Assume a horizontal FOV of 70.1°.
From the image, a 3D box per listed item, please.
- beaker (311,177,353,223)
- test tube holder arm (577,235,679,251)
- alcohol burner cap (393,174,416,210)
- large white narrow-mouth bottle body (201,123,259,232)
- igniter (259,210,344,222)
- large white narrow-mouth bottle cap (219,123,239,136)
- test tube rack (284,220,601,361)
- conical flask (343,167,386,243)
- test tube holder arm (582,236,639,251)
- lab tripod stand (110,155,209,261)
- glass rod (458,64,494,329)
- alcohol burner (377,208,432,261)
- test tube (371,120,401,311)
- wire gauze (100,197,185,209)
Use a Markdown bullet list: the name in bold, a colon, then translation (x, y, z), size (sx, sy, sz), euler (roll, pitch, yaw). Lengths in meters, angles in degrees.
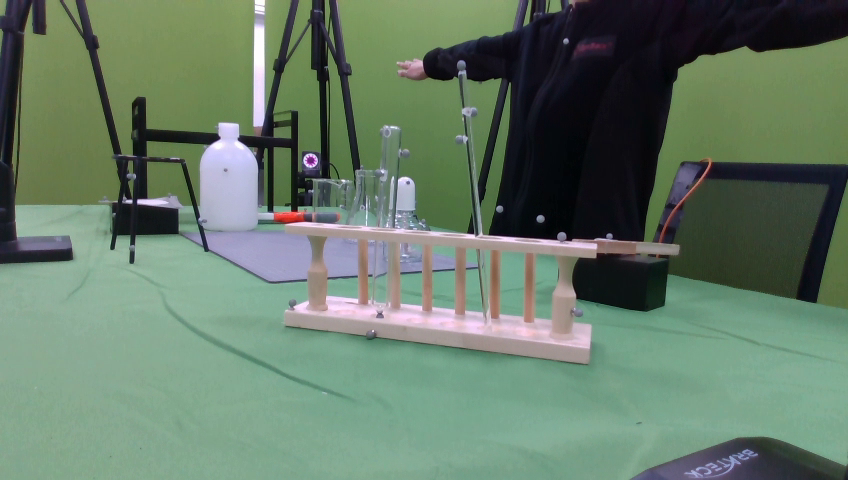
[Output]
- **beaker**: translation (-0.167, -0.064, 1.106), size (0.074, 0.100, 0.083), euler (-2, 9, -27)
- **test tube holder arm**: translation (0.227, 0.004, 0.661), size (0.179, 0.015, 0.013), euler (1, 13, -39)
- **alcohol burner cap**: translation (-0.025, -0.067, 0.833), size (0.034, 0.048, 0.034), euler (4, 12, -1)
- **large white narrow-mouth bottle body**: translation (-0.358, -0.116, 1.116), size (0.102, 0.194, 0.102), euler (2, 8, 0)
- **igniter**: translation (-0.303, -0.049, 1.258), size (0.278, 0.025, 0.057), euler (-2, -2, -28)
- **large white narrow-mouth bottle cap**: translation (-0.356, -0.201, 1.104), size (0.038, 0.024, 0.037), euler (2, 8, 0)
- **test tube rack**: translation (0.013, 0.032, 0.482), size (0.242, 0.085, 0.067), euler (4, 7, 16)
- **conical flask**: translation (-0.096, -0.059, 1.001), size (0.075, 0.122, 0.075), euler (2, 8, 0)
- **test tube holder arm**: translation (0.194, 0.004, 0.629), size (0.088, 0.015, 0.010), euler (2, 13, -38)
- **lab tripod stand**: translation (-0.361, -0.046, 0.806), size (0.148, 0.131, 0.148), euler (2, 5, 0)
- **glass rod**: translation (0.039, -0.029, 0.449), size (0.008, 0.199, 0.008), euler (-7, 9, 1)
- **alcohol burner**: translation (-0.027, -0.031, 0.838), size (0.078, 0.119, 0.078), euler (0, 6, 0)
- **test tube**: translation (-0.030, -0.018, 0.474), size (0.017, 0.150, 0.017), euler (4, 5, 0)
- **wire gauze**: translation (-0.469, -0.062, 1.008), size (0.126, 0.011, 0.121), euler (-2, 8, -25)
